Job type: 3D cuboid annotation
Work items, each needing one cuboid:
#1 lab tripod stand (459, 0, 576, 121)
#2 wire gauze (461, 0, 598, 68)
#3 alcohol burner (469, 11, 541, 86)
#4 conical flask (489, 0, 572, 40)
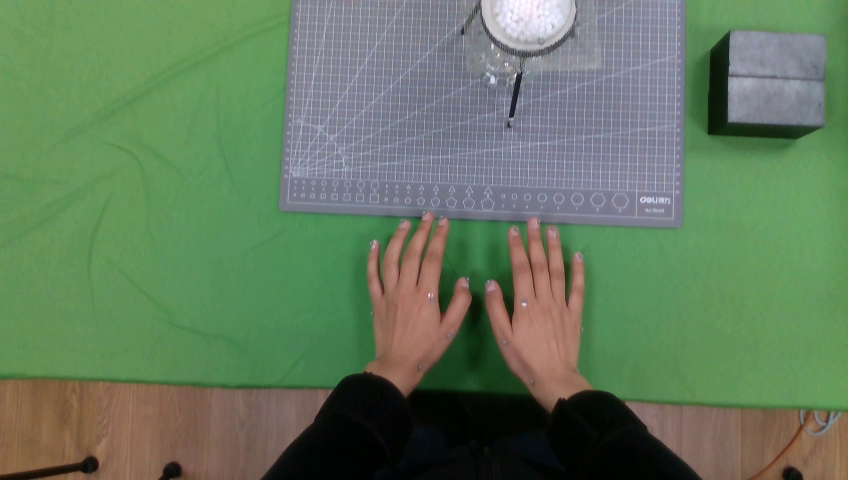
[{"bbox_3d":[0.101,-0.214,0.622,0.148,0.132,0.148,0,84,2],"label":"lab tripod stand"},{"bbox_3d":[0.096,-0.217,0.557,0.125,0.011,0.121,-2,87,-1],"label":"wire gauze"},{"bbox_3d":[0.086,-0.206,0.632,0.078,0.119,0.077,0,85,1],"label":"alcohol burner"},{"bbox_3d":[0.094,-0.223,0.498,0.075,0.122,0.075,0,84,2],"label":"conical flask"}]
